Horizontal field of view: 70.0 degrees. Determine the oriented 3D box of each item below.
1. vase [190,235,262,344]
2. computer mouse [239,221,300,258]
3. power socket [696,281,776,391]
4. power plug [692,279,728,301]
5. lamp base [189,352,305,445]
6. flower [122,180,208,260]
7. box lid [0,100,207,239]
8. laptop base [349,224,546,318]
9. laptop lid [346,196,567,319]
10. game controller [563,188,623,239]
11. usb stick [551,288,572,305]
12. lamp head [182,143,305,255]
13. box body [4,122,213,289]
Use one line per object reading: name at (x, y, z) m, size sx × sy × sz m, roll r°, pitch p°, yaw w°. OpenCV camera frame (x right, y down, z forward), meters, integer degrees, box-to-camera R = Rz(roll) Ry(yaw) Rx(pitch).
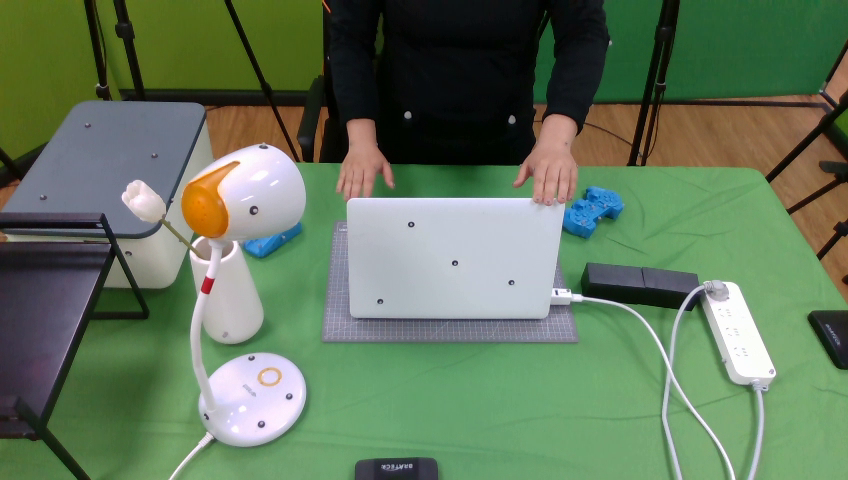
vase at (-0.317, 0.081, 0.971) m, size 0.098 × 0.201 × 0.097 m, roll 3°, pitch 47°, yaw -3°
computer mouse at (-0.300, -0.016, 1.178) m, size 0.062 × 0.041 × 0.117 m, roll 35°, pitch 58°, yaw 23°
power socket at (0.550, 0.160, 1.078) m, size 0.072 × 0.033 × 0.225 m, roll 2°, pitch 46°, yaw -1°
power plug at (0.522, 0.092, 1.115) m, size 0.072 × 0.053 × 0.035 m, roll 8°, pitch 46°, yaw 7°
lamp base at (-0.268, 0.196, 0.876) m, size 0.160 × 0.181 × 0.179 m, roll 25°, pitch 52°, yaw 20°
flower at (-0.329, 0.029, 0.905) m, size 0.038 × 0.364 × 0.044 m, roll -21°, pitch 58°, yaw -1°
box lid at (-0.559, -0.138, 1.085) m, size 0.263 × 0.015 × 0.369 m, roll 2°, pitch 46°, yaw -2°
laptop base at (0.040, 0.056, 1.149) m, size 0.355 × 0.023 × 0.234 m, roll 1°, pitch 43°, yaw -4°
laptop lid at (0.050, 0.035, 1.005) m, size 0.357 × 0.242 × 0.013 m, roll 2°, pitch 29°, yaw -5°
game controller at (0.345, -0.065, 1.272) m, size 0.155 × 0.052 × 0.096 m, roll -31°, pitch 58°, yaw -29°
usb stick at (0.236, 0.103, 1.101) m, size 0.059 × 0.027 × 0.021 m, roll -1°, pitch 47°, yaw 1°
lamp head at (-0.216, -0.044, 0.697) m, size 0.112 × 0.113 × 0.123 m, roll 23°, pitch 31°, yaw 17°
box body at (-0.563, -0.088, 1.140) m, size 0.254 × 0.161 × 0.361 m, roll 2°, pitch 46°, yaw -3°
